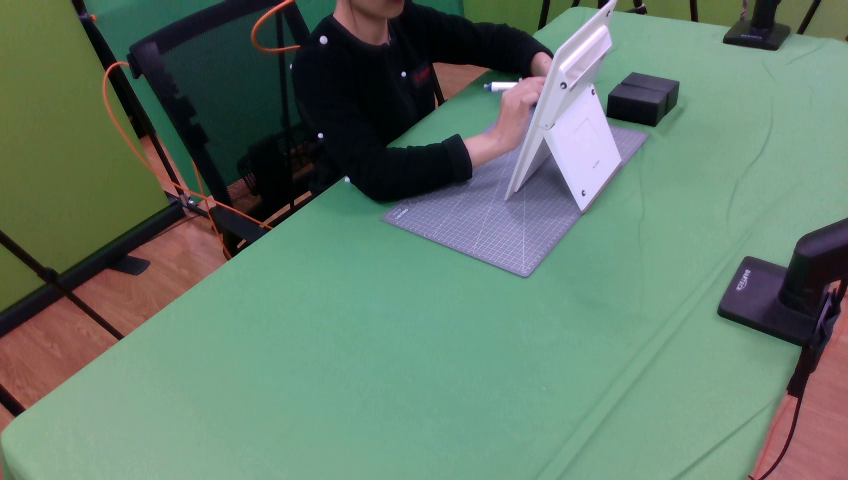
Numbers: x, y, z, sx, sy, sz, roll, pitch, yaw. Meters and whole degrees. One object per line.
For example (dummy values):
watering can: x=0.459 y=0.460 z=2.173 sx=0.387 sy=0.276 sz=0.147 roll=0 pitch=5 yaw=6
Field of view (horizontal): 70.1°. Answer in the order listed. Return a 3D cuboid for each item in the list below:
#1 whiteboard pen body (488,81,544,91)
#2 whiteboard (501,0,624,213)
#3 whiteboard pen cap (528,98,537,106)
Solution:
whiteboard pen body: x=0.182 y=-0.271 z=1.061 sx=0.140 sy=0.017 sz=0.017 roll=2 pitch=42 yaw=9
whiteboard: x=0.271 y=-0.189 z=0.977 sx=0.143 sy=0.306 sz=0.218 roll=34 pitch=53 yaw=16
whiteboard pen cap: x=0.239 y=-0.293 z=1.288 sx=0.033 sy=0.018 sz=0.018 roll=22 pitch=50 yaw=36
